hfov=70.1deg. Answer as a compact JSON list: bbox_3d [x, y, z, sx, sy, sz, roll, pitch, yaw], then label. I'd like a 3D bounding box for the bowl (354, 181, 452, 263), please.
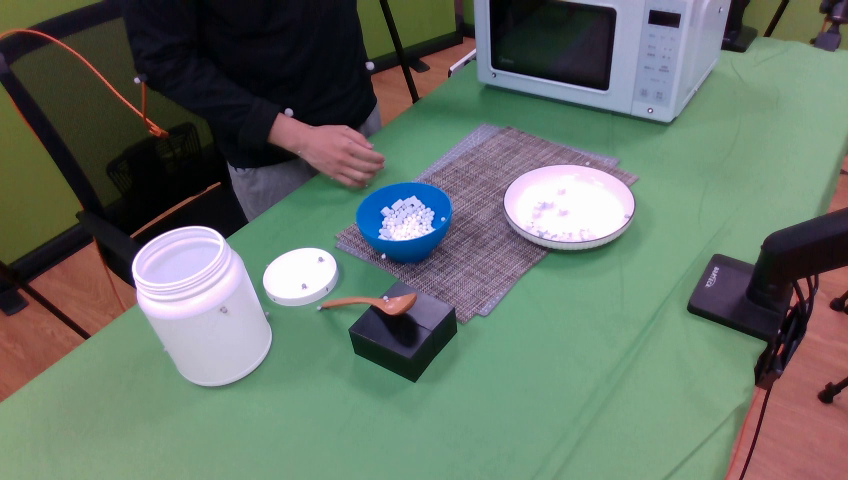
[{"bbox_3d":[-0.028,-0.017,0.943,0.151,0.077,0.150,-4,40,4],"label":"bowl"}]

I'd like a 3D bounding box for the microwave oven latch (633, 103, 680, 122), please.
[{"bbox_3d":[0.444,-0.249,1.157,0.078,0.029,0.030,21,48,30],"label":"microwave oven latch"}]

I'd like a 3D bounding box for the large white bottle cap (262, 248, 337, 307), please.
[{"bbox_3d":[-0.193,0.056,0.934,0.115,0.018,0.114,-5,41,5],"label":"large white bottle cap"}]

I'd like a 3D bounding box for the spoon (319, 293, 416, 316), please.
[{"bbox_3d":[-0.082,0.086,0.826,0.192,0.022,0.041,-3,37,41],"label":"spoon"}]

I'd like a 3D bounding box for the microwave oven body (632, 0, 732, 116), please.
[{"bbox_3d":[0.377,-0.462,1.267,0.438,0.261,0.327,21,48,30],"label":"microwave oven body"}]

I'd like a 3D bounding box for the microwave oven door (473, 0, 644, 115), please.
[{"bbox_3d":[0.257,-0.396,1.199,0.353,0.245,0.039,21,48,29],"label":"microwave oven door"}]

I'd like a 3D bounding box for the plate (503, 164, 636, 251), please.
[{"bbox_3d":[0.232,-0.051,0.976,0.209,0.038,0.208,-3,41,3],"label":"plate"}]

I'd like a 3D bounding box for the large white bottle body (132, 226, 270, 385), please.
[{"bbox_3d":[-0.286,0.085,0.784,0.130,0.185,0.130,-4,41,4],"label":"large white bottle body"}]
